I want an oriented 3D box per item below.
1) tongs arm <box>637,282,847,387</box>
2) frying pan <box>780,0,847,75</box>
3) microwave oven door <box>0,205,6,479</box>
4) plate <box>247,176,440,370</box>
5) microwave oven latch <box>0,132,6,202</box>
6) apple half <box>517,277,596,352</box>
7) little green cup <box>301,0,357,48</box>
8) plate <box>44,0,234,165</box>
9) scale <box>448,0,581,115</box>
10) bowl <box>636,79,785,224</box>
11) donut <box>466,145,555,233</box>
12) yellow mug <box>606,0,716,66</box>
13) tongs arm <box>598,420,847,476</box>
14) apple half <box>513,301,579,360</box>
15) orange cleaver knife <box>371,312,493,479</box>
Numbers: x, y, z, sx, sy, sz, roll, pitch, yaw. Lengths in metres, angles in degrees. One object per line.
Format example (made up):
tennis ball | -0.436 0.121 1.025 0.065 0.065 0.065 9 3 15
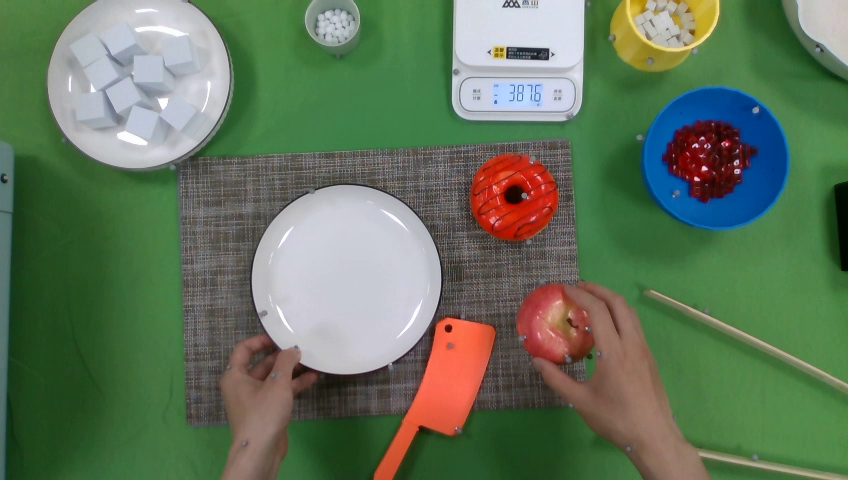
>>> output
tongs arm | 0.413 0.140 0.672 0.387 0.028 0.028 27 79 2
frying pan | 0.578 -0.216 0.649 0.307 0.103 0.485 -30 79 0
microwave oven door | -0.481 0.131 0.551 0.039 0.244 0.355 -1 87 0
plate | -0.086 0.035 0.666 0.209 0.038 0.208 0 87 -1
microwave oven latch | -0.479 -0.082 0.663 0.030 0.029 0.079 2 88 0
apple half | 0.138 0.067 0.608 0.080 0.075 0.053 40 81 5
little green cup | -0.104 -0.250 0.688 0.061 0.038 0.061 0 87 1
plate | -0.316 -0.185 0.686 0.208 0.039 0.207 0 87 0
scale | 0.104 -0.245 0.689 0.149 0.031 0.200 1 88 1
bowl | 0.296 -0.089 0.658 0.151 0.077 0.151 0 88 1
donut | 0.095 -0.056 0.671 0.099 0.048 0.099 0 88 2
yellow mug | 0.251 -0.265 0.672 0.100 0.064 0.130 -36 86 -1
tongs arm | 0.386 0.222 0.664 0.385 0.026 0.050 12 82 1
apple half | 0.113 0.097 0.603 0.081 0.081 0.033 42 80 3
orange cleaver knife | 0.010 0.176 0.671 0.077 0.012 0.211 26 85 -6
